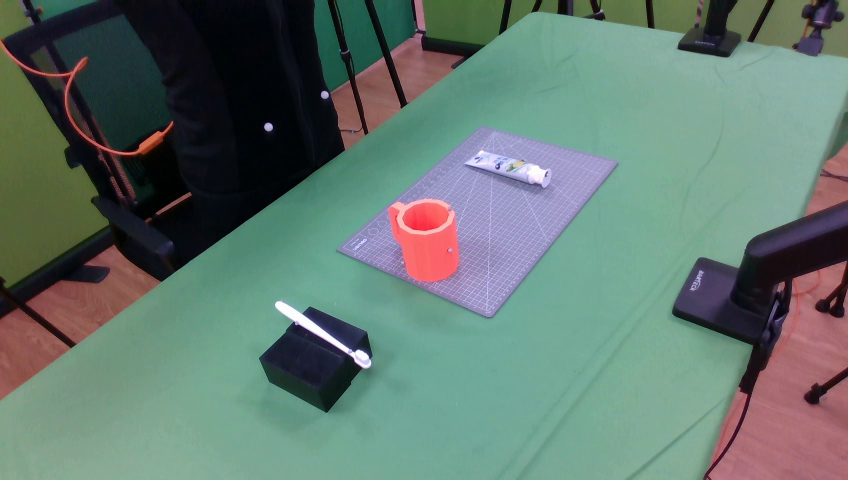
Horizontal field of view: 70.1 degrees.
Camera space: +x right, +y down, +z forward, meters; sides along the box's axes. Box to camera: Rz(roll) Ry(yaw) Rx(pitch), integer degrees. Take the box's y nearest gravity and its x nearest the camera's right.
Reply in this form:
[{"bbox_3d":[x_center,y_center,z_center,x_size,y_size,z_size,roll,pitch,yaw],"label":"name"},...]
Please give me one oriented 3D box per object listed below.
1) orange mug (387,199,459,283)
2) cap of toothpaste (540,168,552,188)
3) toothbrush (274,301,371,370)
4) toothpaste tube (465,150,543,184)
[{"bbox_3d":[-0.006,-0.007,0.923,0.125,0.101,0.084,32,54,32],"label":"orange mug"},{"bbox_3d":[0.213,-0.109,1.059,0.011,0.037,0.037,19,47,27],"label":"cap of toothpaste"},{"bbox_3d":[-0.135,0.119,0.783,0.180,0.017,0.014,25,53,33],"label":"toothbrush"},{"bbox_3d":[0.154,-0.135,1.108,0.163,0.034,0.055,23,43,36],"label":"toothpaste tube"}]
